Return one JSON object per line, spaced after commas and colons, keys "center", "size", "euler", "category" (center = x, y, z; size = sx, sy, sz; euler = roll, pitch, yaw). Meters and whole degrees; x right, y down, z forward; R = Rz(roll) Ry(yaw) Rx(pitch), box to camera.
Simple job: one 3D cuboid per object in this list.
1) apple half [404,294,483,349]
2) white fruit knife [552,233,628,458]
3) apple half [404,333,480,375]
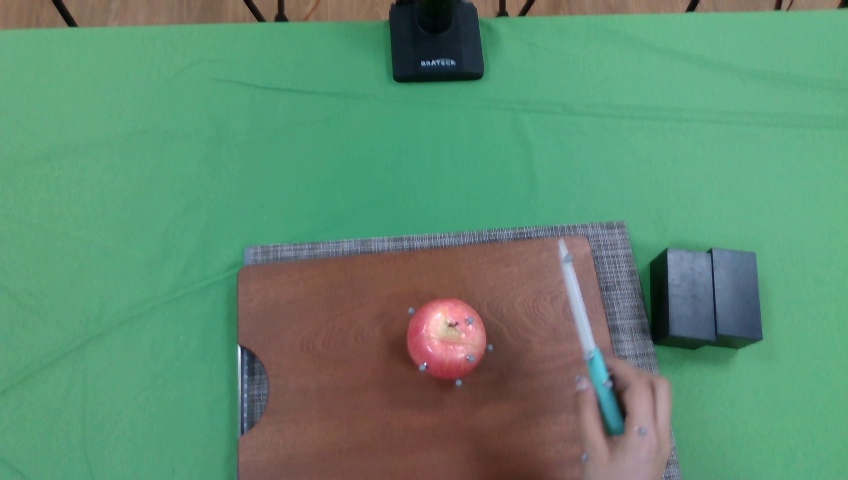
{"center": [0.022, 0.084, 0.622], "size": [0.081, 0.075, 0.053], "euler": [6, 66, 3], "category": "apple half"}
{"center": [0.136, 0.092, 0.502], "size": [0.016, 0.027, 0.208], "euler": [-20, 100, -10], "category": "white fruit knife"}
{"center": [0.016, 0.120, 0.608], "size": [0.081, 0.082, 0.032], "euler": [8, 65, 0], "category": "apple half"}
